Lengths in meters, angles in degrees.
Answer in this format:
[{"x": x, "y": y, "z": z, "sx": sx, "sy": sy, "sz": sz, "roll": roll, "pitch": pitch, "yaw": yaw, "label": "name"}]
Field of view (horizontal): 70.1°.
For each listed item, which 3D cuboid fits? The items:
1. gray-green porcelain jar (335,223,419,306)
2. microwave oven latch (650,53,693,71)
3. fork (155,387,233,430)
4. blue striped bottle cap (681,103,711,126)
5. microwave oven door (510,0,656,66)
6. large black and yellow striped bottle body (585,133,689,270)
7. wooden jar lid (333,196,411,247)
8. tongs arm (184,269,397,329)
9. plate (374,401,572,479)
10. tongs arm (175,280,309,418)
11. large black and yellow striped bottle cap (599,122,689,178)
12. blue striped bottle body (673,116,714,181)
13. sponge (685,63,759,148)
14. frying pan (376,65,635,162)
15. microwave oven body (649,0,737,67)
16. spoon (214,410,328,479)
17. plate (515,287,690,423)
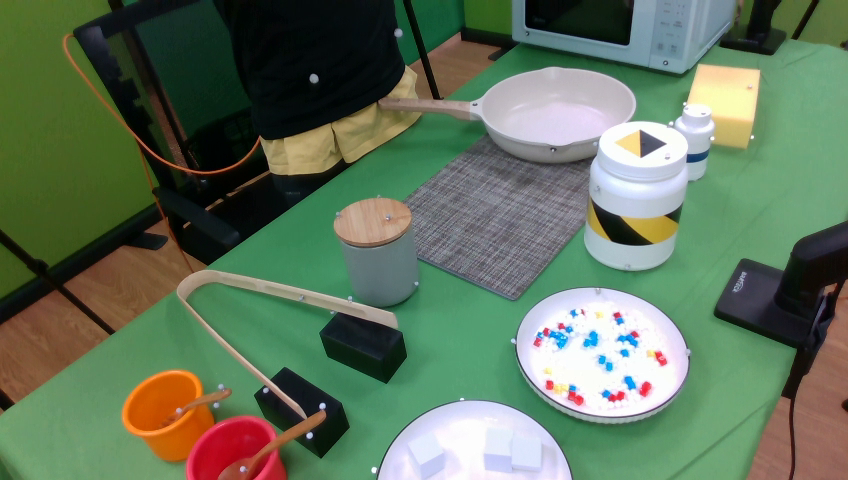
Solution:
[{"x": -0.064, "y": 0.024, "z": 0.872, "sx": 0.106, "sy": 0.127, "sz": 0.105, "roll": -4, "pitch": 41, "yaw": 4, "label": "gray-green porcelain jar"}, {"x": 0.531, "y": -0.386, "z": 1.301, "sx": 0.078, "sy": 0.029, "sz": 0.030, "roll": 26, "pitch": 51, "yaw": 33, "label": "microwave oven latch"}, {"x": -0.264, "y": 0.191, "z": 0.688, "sx": 0.206, "sy": 0.018, "sz": 0.028, "roll": -33, "pitch": 8, "yaw": 44, "label": "fork"}, {"x": 0.446, "y": -0.205, "z": 0.990, "sx": 0.044, "sy": 0.021, "sz": 0.044, "roll": -5, "pitch": 43, "yaw": 5, "label": "blue striped bottle cap"}, {"x": 0.350, "y": -0.539, "z": 1.349, "sx": 0.353, "sy": 0.245, "sz": 0.039, "roll": 24, "pitch": 50, "yaw": 31, "label": "microwave oven door"}, {"x": 0.305, "y": -0.061, "z": 0.874, "sx": 0.131, "sy": 0.185, "sz": 0.130, "roll": -4, "pitch": 41, "yaw": 4, "label": "large black and yellow striped bottle body"}, {"x": -0.071, "y": -0.023, "z": 0.830, "sx": 0.108, "sy": 0.021, "sz": 0.108, "roll": -4, "pitch": 36, "yaw": 3, "label": "wooden jar lid"}, {"x": -0.203, "y": 0.085, "z": 0.847, "sx": 0.382, "sy": 0.027, "sz": 0.051, "roll": 11, "pitch": 44, "yaw": 34, "label": "tongs arm"}, {"x": 0.051, "y": 0.268, "z": 0.639, "sx": 0.207, "sy": 0.039, "sz": 0.206, "roll": -3, "pitch": 40, "yaw": 3, "label": "plate"}, {"x": -0.255, "y": 0.133, "z": 0.800, "sx": 0.028, "sy": 0.028, "sz": 0.384, "roll": -41, "pitch": 40, "yaw": -23, "label": "tongs arm"}, {"x": 0.296, "y": -0.123, "z": 0.818, "sx": 0.115, "sy": 0.019, "sz": 0.114, "roll": -5, "pitch": 40, "yaw": 5, "label": "large black and yellow striped bottle cap"}, {"x": 0.451, "y": -0.166, "z": 1.023, "sx": 0.063, "sy": 0.121, "sz": 0.063, "roll": -5, "pitch": 41, "yaw": 4, "label": "blue striped bottle body"}, {"x": 0.569, "y": -0.263, "z": 1.164, "sx": 0.117, "sy": 0.061, "sz": 0.207, "roll": 12, "pitch": 45, "yaw": 22, "label": "sponge"}, {"x": 0.150, "y": -0.254, "z": 1.176, "sx": 0.488, "sy": 0.103, "sz": 0.306, "roll": 6, "pitch": 41, "yaw": 3, "label": "frying pan"}, {"x": 0.475, "y": -0.602, "z": 1.411, "sx": 0.438, "sy": 0.261, "sz": 0.327, "roll": 23, "pitch": 50, "yaw": 32, "label": "microwave oven body"}, {"x": -0.165, "y": 0.224, "z": 0.639, "sx": 0.193, "sy": 0.022, "sz": 0.041, "roll": -40, "pitch": 32, "yaw": 30, "label": "spoon"}, {"x": 0.220, "y": 0.144, "z": 0.760, "sx": 0.209, "sy": 0.038, "sz": 0.208, "roll": -4, "pitch": 40, "yaw": 4, "label": "plate"}]
